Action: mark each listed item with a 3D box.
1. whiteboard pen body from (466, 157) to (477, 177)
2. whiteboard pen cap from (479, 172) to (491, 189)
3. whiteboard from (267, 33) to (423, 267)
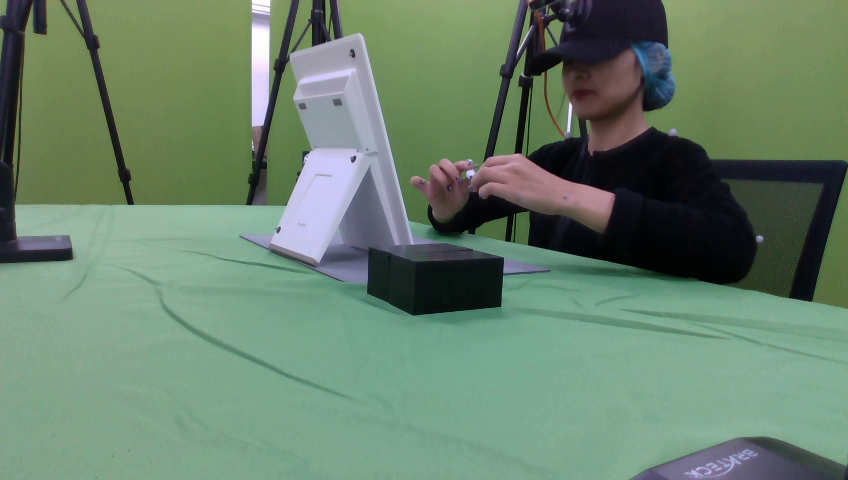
[{"bbox_3d":[0.080,-0.121,1.018,0.017,0.017,0.140,2,17,2],"label":"whiteboard pen body"},{"bbox_3d":[0.093,-0.091,0.923,0.018,0.018,0.033,2,25,-2],"label":"whiteboard pen cap"},{"bbox_3d":[-0.153,-0.098,0.819,0.144,0.305,0.216,-25,21,-29],"label":"whiteboard"}]
